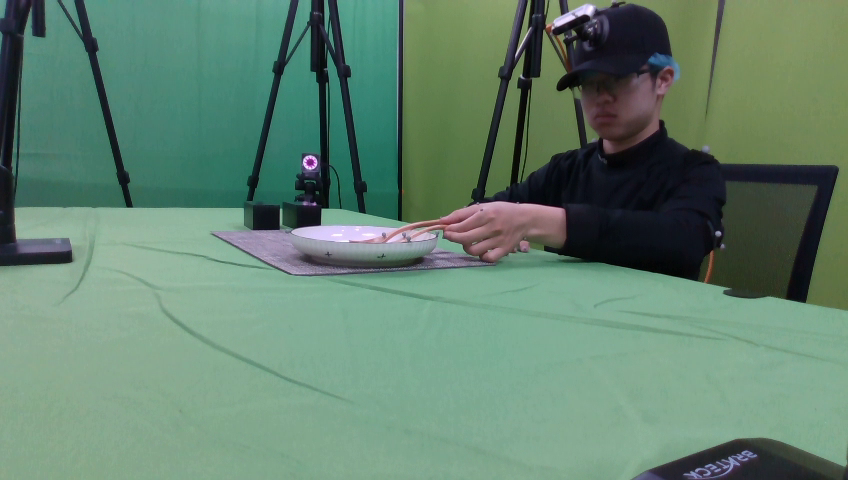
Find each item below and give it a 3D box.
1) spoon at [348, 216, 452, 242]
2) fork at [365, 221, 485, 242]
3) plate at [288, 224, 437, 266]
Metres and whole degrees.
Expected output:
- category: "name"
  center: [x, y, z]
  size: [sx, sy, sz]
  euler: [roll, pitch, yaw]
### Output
- category: "spoon"
  center: [-0.030, -0.015, 0.923]
  size: [0.195, 0.021, 0.041]
  euler: [-19, 16, -36]
- category: "fork"
  center: [0.008, -0.012, 0.896]
  size: [0.208, 0.018, 0.028]
  euler: [-14, 1, -32]
- category: "plate"
  center: [-0.086, 0.007, 0.852]
  size: [0.208, 0.039, 0.207]
  euler: [2, 7, 0]
